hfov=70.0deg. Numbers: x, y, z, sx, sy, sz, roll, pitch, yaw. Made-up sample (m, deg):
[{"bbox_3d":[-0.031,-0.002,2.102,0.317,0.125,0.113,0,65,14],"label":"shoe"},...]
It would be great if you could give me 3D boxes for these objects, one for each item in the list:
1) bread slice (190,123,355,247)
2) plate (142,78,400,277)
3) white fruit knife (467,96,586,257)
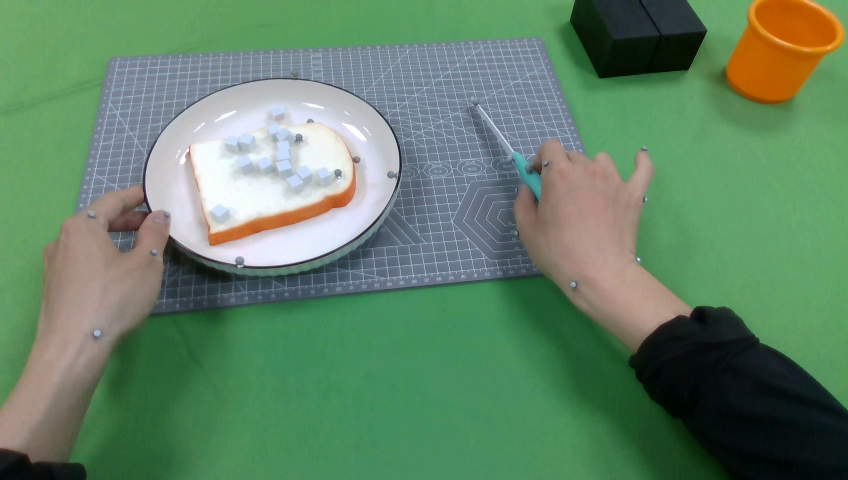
[{"bbox_3d":[-0.127,-0.057,0.517,0.132,0.019,0.104,-19,59,-15],"label":"bread slice"},{"bbox_3d":[-0.124,-0.054,0.512,0.209,0.038,0.207,2,56,-3],"label":"plate"},{"bbox_3d":[0.084,-0.067,0.539,0.016,0.028,0.205,-29,55,-1],"label":"white fruit knife"}]
